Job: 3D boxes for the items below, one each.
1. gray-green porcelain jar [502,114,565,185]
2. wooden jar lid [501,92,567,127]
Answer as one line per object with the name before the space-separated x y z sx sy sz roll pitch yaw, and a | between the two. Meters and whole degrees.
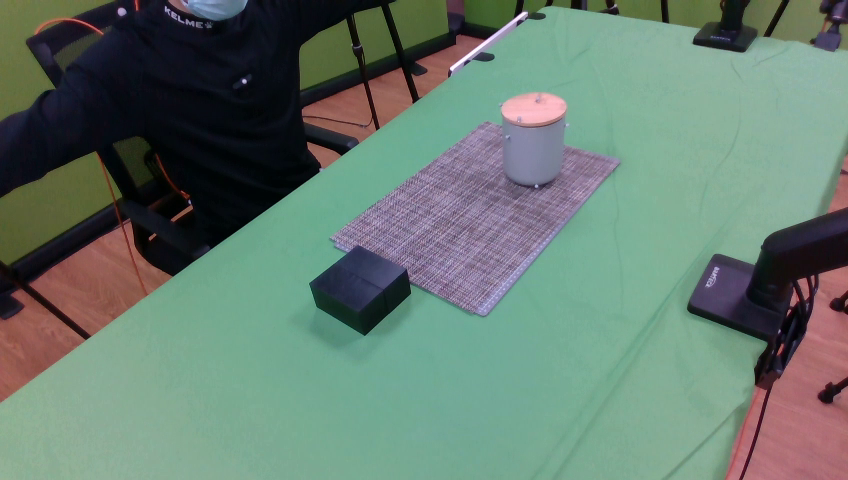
gray-green porcelain jar | 0.189 -0.168 1.051 0.106 0.127 0.105 -4 41 4
wooden jar lid | 0.183 -0.214 1.010 0.108 0.021 0.108 -5 40 5
